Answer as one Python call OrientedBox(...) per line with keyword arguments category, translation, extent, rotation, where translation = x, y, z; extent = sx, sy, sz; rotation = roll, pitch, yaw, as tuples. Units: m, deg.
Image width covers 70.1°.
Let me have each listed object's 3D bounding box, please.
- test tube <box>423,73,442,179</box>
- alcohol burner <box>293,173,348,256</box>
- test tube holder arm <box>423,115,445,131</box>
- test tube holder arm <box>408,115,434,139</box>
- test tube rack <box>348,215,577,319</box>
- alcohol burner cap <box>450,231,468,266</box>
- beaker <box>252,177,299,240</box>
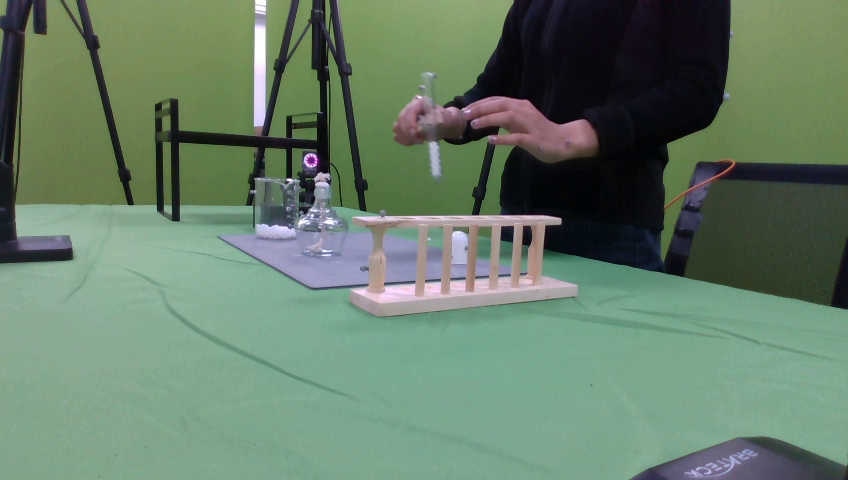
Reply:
OrientedBox(category="test tube", translation=(0.013, -0.163, 0.868), extent=(0.017, 0.150, 0.017), rotation=(-5, 5, 1))
OrientedBox(category="alcohol burner", translation=(-0.146, -0.036, 0.859), extent=(0.078, 0.119, 0.078), rotation=(4, 8, 0))
OrientedBox(category="test tube holder arm", translation=(0.010, -0.171, 0.890), extent=(0.010, 0.015, 0.087), rotation=(-4, 4, -20))
OrientedBox(category="test tube holder arm", translation=(-0.007, -0.173, 0.932), extent=(0.013, 0.015, 0.178), rotation=(-3, 3, -12))
OrientedBox(category="test tube rack", translation=(0.048, 0.021, 0.619), extent=(0.244, 0.085, 0.066), rotation=(-2, 9, -31))
OrientedBox(category="alcohol burner cap", translation=(0.046, 0.011, 0.838), extent=(0.034, 0.048, 0.034), rotation=(3, 7, 0))
OrientedBox(category="beaker", translation=(-0.245, -0.052, 1.005), extent=(0.074, 0.100, 0.083), rotation=(-2, 10, -32))
